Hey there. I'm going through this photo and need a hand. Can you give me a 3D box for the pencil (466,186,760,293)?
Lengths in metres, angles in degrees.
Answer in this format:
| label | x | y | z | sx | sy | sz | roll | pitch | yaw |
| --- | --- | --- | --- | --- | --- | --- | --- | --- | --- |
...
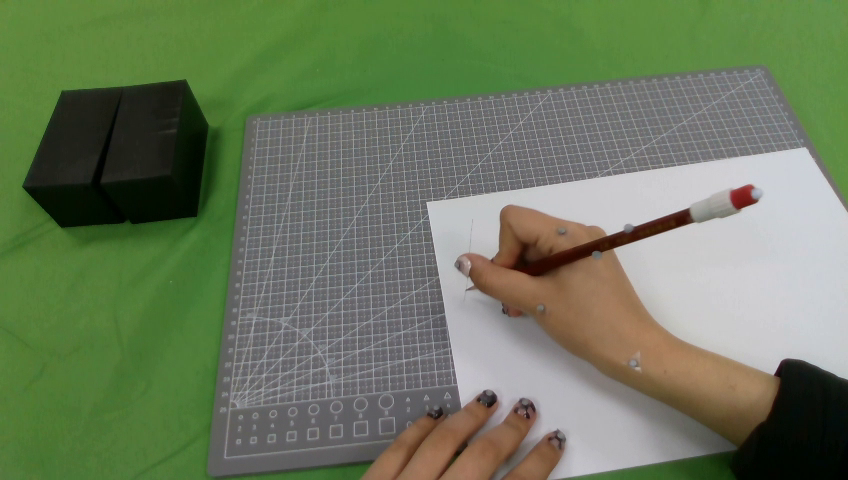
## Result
| label | x | y | z | sx | sy | sz | roll | pitch | yaw |
| --- | --- | --- | --- | --- | --- | --- | --- | --- | --- |
| pencil | 0.087 | 0.008 | 0.337 | 0.012 | 0.193 | 0.012 | 15 | 64 | -35 |
